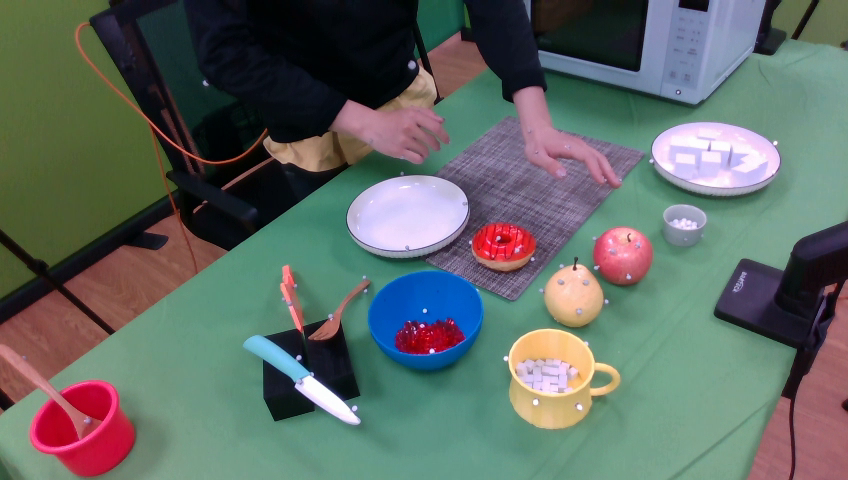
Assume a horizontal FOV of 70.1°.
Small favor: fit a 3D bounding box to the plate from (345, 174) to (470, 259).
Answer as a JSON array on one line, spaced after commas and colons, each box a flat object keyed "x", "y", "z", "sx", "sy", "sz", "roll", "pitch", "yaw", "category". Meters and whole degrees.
[{"x": -0.026, "y": -0.036, "z": 1.004, "sx": 0.209, "sy": 0.038, "sz": 0.208, "roll": -4, "pitch": 40, "yaw": 4, "category": "plate"}]

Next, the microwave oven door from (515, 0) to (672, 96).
[{"x": 0.343, "y": -0.455, "z": 1.259, "sx": 0.353, "sy": 0.245, "sz": 0.039, "roll": 26, "pitch": 51, "yaw": 33, "category": "microwave oven door"}]

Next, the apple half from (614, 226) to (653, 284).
[{"x": 0.298, "y": 0.023, "z": 0.864, "sx": 0.053, "sy": 0.075, "sz": 0.080, "roll": -3, "pitch": 37, "yaw": 1, "category": "apple half"}]

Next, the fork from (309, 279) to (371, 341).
[{"x": -0.109, "y": 0.093, "z": 0.832, "sx": 0.028, "sy": 0.018, "sz": 0.207, "roll": -4, "pitch": 19, "yaw": 15, "category": "fork"}]

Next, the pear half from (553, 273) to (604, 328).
[{"x": 0.208, "y": 0.085, "z": 0.791, "sx": 0.071, "sy": 0.088, "sz": 0.031, "roll": -14, "pitch": 39, "yaw": -15, "category": "pear half"}]

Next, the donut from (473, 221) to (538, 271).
[{"x": 0.124, "y": 0.008, "z": 0.923, "sx": 0.099, "sy": 0.048, "sz": 0.098, "roll": -4, "pitch": 38, "yaw": 3, "category": "donut"}]

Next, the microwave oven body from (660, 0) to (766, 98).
[{"x": 0.472, "y": -0.513, "z": 1.317, "sx": 0.438, "sy": 0.261, "sz": 0.327, "roll": 26, "pitch": 51, "yaw": 34, "category": "microwave oven body"}]

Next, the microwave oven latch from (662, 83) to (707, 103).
[{"x": 0.517, "y": -0.297, "z": 1.204, "sx": 0.078, "sy": 0.029, "sz": 0.030, "roll": 28, "pitch": 52, "yaw": 35, "category": "microwave oven latch"}]

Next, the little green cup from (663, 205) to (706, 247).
[{"x": 0.396, "y": -0.020, "z": 0.927, "sx": 0.061, "sy": 0.039, "sz": 0.061, "roll": -4, "pitch": 40, "yaw": 4, "category": "little green cup"}]

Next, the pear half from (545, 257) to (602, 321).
[{"x": 0.197, "y": 0.056, "z": 0.811, "sx": 0.076, "sy": 0.110, "sz": 0.055, "roll": -14, "pitch": 41, "yaw": -13, "category": "pear half"}]

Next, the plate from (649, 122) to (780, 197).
[{"x": 0.497, "y": -0.135, "z": 1.046, "sx": 0.207, "sy": 0.039, "sz": 0.206, "roll": -4, "pitch": 41, "yaw": 4, "category": "plate"}]

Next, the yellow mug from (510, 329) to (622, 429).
[{"x": 0.168, "y": 0.164, "z": 0.721, "sx": 0.130, "sy": 0.064, "sz": 0.099, "roll": 0, "pitch": 40, "yaw": 8, "category": "yellow mug"}]

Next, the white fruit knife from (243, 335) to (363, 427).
[{"x": -0.148, "y": 0.167, "z": 0.729, "sx": 0.206, "sy": 0.016, "sz": 0.027, "roll": 27, "pitch": 80, "yaw": 31, "category": "white fruit knife"}]

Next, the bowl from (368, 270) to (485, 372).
[{"x": 0.007, "y": 0.118, "z": 0.791, "sx": 0.151, "sy": 0.077, "sz": 0.150, "roll": -5, "pitch": 40, "yaw": 4, "category": "bowl"}]

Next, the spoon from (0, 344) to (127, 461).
[{"x": -0.433, "y": 0.191, "z": 0.721, "sx": 0.194, "sy": 0.021, "sz": 0.042, "roll": 47, "pitch": 53, "yaw": -6, "category": "spoon"}]

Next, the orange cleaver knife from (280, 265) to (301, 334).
[{"x": -0.188, "y": 0.081, "z": 0.862, "sx": 0.012, "sy": 0.077, "sz": 0.210, "roll": -19, "pitch": 12, "yaw": -9, "category": "orange cleaver knife"}]

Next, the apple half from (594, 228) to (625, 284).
[{"x": 0.259, "y": 0.026, "z": 0.864, "sx": 0.033, "sy": 0.081, "sz": 0.081, "roll": -3, "pitch": 40, "yaw": 1, "category": "apple half"}]
